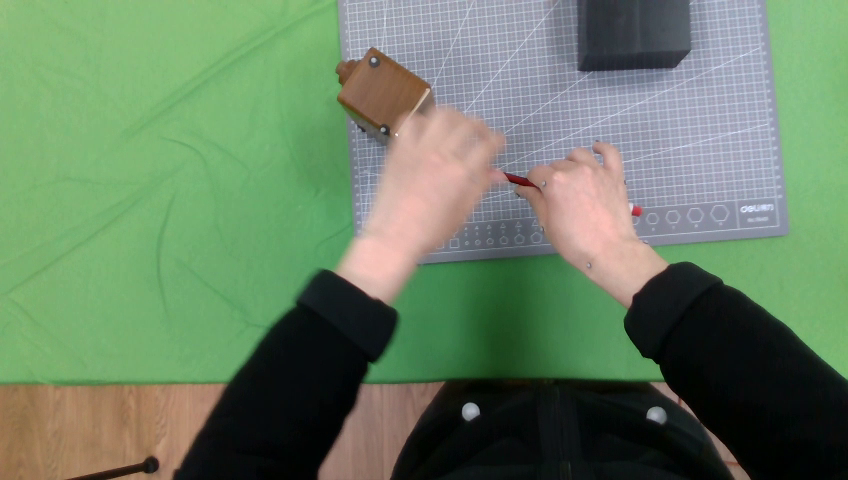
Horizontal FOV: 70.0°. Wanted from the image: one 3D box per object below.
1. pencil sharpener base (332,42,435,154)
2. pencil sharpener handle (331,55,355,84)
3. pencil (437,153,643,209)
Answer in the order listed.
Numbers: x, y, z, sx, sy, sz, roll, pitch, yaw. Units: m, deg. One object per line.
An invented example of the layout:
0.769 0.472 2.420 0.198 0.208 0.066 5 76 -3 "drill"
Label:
-0.039 -0.139 0.604 0.076 0.107 0.061 35 90 6 "pencil sharpener base"
-0.080 -0.170 0.597 0.030 0.068 0.036 35 98 6 "pencil sharpener handle"
0.105 -0.056 0.560 0.194 0.012 0.012 14 88 2 "pencil"
